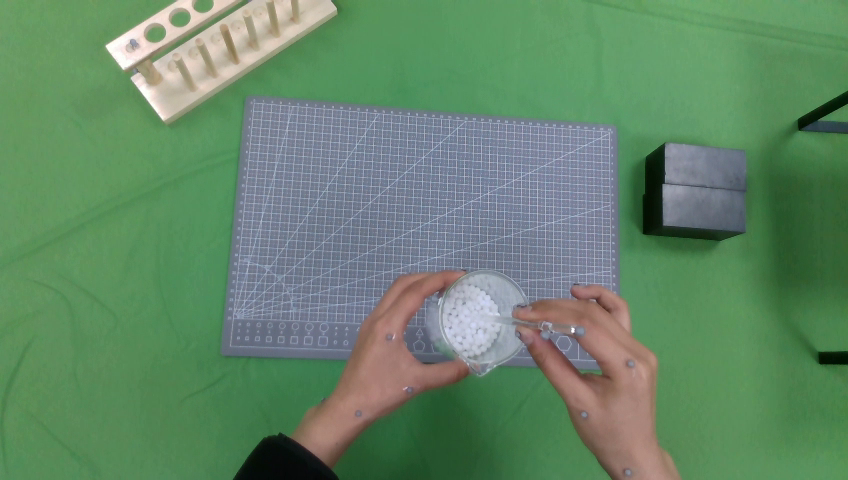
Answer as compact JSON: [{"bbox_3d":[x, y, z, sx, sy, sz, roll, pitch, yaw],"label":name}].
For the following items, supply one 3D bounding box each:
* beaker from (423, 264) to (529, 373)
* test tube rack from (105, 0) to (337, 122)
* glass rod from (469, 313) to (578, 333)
[{"bbox_3d":[0.039,0.068,0.512,0.074,0.100,0.083,7,80,-7],"label":"beaker"},{"bbox_3d":[-0.216,-0.240,0.678,0.242,0.085,0.066,-38,85,-11],"label":"test tube rack"},{"bbox_3d":[0.065,0.061,0.450,0.008,0.199,0.008,1,85,-13],"label":"glass rod"}]
